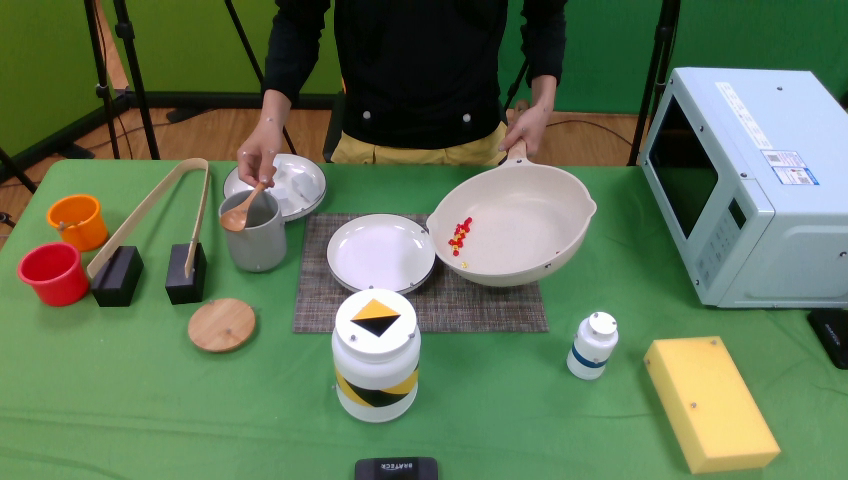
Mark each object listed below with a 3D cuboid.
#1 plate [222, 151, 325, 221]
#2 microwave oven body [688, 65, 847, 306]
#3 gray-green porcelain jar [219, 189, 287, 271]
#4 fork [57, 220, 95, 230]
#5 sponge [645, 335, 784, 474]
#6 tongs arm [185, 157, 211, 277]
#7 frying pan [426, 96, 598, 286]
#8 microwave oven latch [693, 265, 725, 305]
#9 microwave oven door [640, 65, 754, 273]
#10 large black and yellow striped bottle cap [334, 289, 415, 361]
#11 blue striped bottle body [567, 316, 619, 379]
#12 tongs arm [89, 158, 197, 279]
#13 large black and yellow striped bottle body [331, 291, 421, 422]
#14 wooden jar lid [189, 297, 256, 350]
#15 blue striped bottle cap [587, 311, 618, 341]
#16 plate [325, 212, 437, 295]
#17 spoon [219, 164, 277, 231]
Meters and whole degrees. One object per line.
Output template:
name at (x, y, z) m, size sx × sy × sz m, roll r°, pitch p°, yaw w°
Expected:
plate at (-0.310, -0.106, 1.263) m, size 0.208 × 0.039 × 0.206 m, roll 2°, pitch 47°, yaw -2°
microwave oven body at (0.669, -0.111, 1.176) m, size 0.326 × 0.261 × 0.439 m, roll 0°, pitch 46°, yaw -3°
gray-green porcelain jar at (-0.310, -0.014, 1.113) m, size 0.106 × 0.127 × 0.105 m, roll 2°, pitch 46°, yaw -2°
fork at (-0.624, -0.027, 1.086) m, size 0.028 × 0.207 × 0.018 m, roll -2°, pitch 91°, yaw -17°
sponge at (0.449, 0.253, 0.956) m, size 0.118 × 0.061 × 0.205 m, roll -4°, pitch 46°, yaw -7°
tongs arm at (-0.446, -0.057, 1.168) m, size 0.051 × 0.026 × 0.382 m, roll -5°, pitch 37°, yaw -6°
frying pan at (0.175, -0.109, 1.147) m, size 0.306 × 0.103 × 0.485 m, roll -2°, pitch 52°, yaw 20°
microwave oven latch at (0.523, 0.082, 1.116) m, size 0.030 × 0.029 × 0.078 m, roll 2°, pitch 46°, yaw -1°
microwave oven door at (0.523, -0.147, 1.193) m, size 0.039 × 0.245 × 0.353 m, roll 0°, pitch 47°, yaw -3°
large black and yellow striped bottle cap at (-0.069, 0.117, 0.850) m, size 0.115 × 0.019 × 0.114 m, roll 2°, pitch 45°, yaw -2°
blue striped bottle body at (0.276, 0.168, 0.984) m, size 0.063 × 0.121 × 0.062 m, roll 2°, pitch 46°, yaw -2°
tongs arm at (-0.530, -0.056, 1.164) m, size 0.028 × 0.028 × 0.385 m, roll 1°, pitch 36°, yaw 8°
large black and yellow striped bottle body at (-0.071, 0.175, 0.911) m, size 0.131 × 0.185 × 0.130 m, roll 2°, pitch 47°, yaw -2°
wooden jar lid at (-0.342, 0.145, 1.033) m, size 0.108 × 0.021 × 0.107 m, roll 2°, pitch 45°, yaw -2°
blue striped bottle cap at (0.279, 0.134, 0.946) m, size 0.044 × 0.021 × 0.044 m, roll 2°, pitch 45°, yaw -2°
plate at (-0.080, 0.030, 1.143) m, size 0.209 × 0.038 × 0.208 m, roll 3°, pitch 46°, yaw -3°
spoon at (-0.304, -0.079, 1.074) m, size 0.042 × 0.022 × 0.193 m, roll 31°, pitch 47°, yaw -7°
